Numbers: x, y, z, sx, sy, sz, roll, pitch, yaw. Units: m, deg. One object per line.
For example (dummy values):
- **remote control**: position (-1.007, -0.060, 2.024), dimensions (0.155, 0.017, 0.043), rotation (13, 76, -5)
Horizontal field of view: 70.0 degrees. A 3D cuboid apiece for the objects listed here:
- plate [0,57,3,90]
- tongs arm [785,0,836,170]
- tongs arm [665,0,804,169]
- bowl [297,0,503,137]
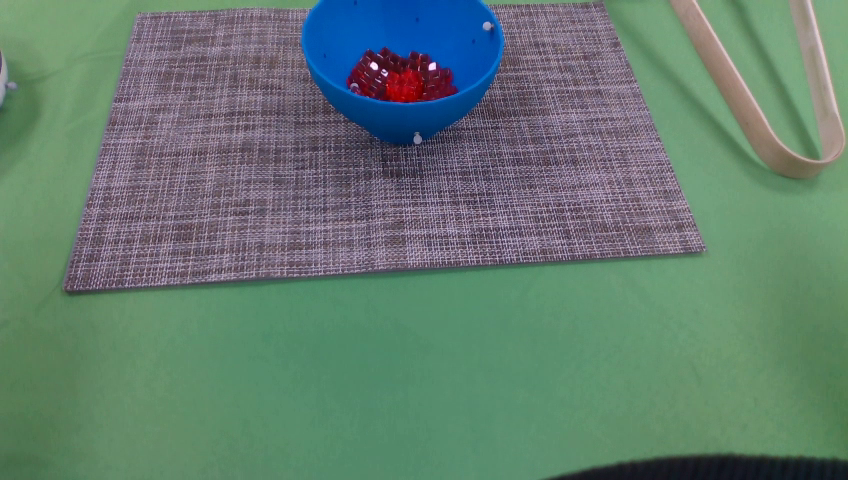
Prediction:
- **plate**: position (-0.434, -0.105, 0.464), dimensions (0.209, 0.038, 0.207), rotation (2, 57, -2)
- **tongs arm**: position (0.321, -0.238, 0.557), dimensions (0.051, 0.026, 0.382), rotation (2, 68, -5)
- **tongs arm**: position (0.232, -0.232, 0.549), dimensions (0.028, 0.028, 0.384), rotation (-12, 69, -14)
- **bowl**: position (-0.019, -0.135, 0.478), dimensions (0.151, 0.077, 0.150), rotation (1, 56, -2)
